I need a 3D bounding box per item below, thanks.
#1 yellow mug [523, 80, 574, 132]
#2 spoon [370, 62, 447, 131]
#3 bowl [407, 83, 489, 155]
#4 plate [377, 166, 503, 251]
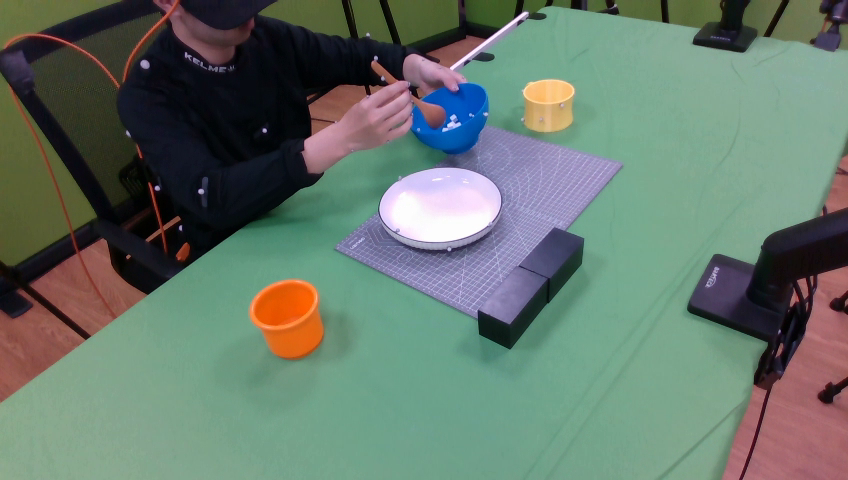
[{"bbox_3d":[0.242,-0.278,1.224,0.100,0.064,0.129,-24,42,-17],"label":"yellow mug"},{"bbox_3d":[-0.024,-0.235,0.998,0.041,0.195,0.021,-54,43,6],"label":"spoon"},{"bbox_3d":[0.053,-0.206,1.087,0.151,0.077,0.150,-15,42,14],"label":"bowl"},{"bbox_3d":[0.027,-0.050,1.007,0.209,0.038,0.208,-4,41,4],"label":"plate"}]
